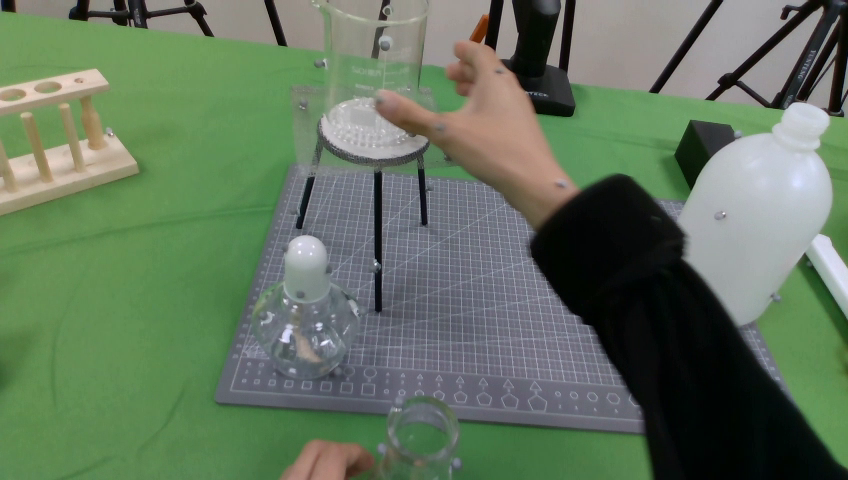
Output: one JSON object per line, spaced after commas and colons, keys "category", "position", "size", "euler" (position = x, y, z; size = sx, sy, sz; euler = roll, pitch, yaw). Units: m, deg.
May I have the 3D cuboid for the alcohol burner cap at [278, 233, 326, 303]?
{"category": "alcohol burner cap", "position": [-0.083, 0.017, 0.407], "size": [0.034, 0.048, 0.033], "euler": [4, 48, -4]}

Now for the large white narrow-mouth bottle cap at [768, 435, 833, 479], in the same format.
{"category": "large white narrow-mouth bottle cap", "position": [0.270, 0.163, 0.436], "size": [0.038, 0.024, 0.037], "euler": [5, 42, -4]}

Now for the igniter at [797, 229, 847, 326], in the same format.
{"category": "igniter", "position": [0.398, 0.085, 0.539], "size": [0.057, 0.025, 0.274], "euler": [14, 41, -10]}

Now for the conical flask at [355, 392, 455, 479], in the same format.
{"category": "conical flask", "position": [-0.009, 0.135, 0.342], "size": [0.075, 0.123, 0.074], "euler": [5, 42, -4]}

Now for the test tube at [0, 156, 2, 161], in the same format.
{"category": "test tube", "position": [-0.389, -0.126, 0.517], "size": [0.017, 0.151, 0.017], "euler": [6, 37, -4]}

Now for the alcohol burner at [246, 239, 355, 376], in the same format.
{"category": "alcohol burner", "position": [-0.087, 0.042, 0.432], "size": [0.078, 0.120, 0.077], "euler": [6, 41, -5]}

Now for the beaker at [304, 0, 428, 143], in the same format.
{"category": "beaker", "position": [-0.044, -0.129, 0.442], "size": [0.084, 0.101, 0.073], "euler": [1, 44, -9]}

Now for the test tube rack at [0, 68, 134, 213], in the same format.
{"category": "test tube rack", "position": [-0.398, -0.073, 0.530], "size": [0.243, 0.086, 0.066], "euler": [-26, 52, -33]}

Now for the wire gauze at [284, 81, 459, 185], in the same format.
{"category": "wire gauze", "position": [-0.045, -0.090, 0.473], "size": [0.122, 0.011, 0.123], "euler": [-5, 48, -13]}

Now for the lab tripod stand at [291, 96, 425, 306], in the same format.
{"category": "lab tripod stand", "position": [-0.049, -0.040, 0.515], "size": [0.148, 0.132, 0.147], "euler": [6, 43, -5]}

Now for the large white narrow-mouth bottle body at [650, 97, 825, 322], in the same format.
{"category": "large white narrow-mouth bottle body", "position": [0.269, -0.026, 0.509], "size": [0.102, 0.196, 0.101], "euler": [4, 42, -4]}
